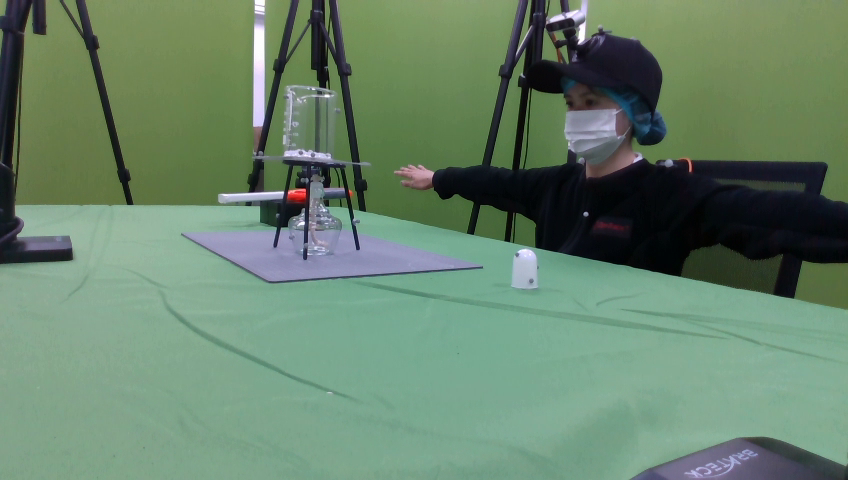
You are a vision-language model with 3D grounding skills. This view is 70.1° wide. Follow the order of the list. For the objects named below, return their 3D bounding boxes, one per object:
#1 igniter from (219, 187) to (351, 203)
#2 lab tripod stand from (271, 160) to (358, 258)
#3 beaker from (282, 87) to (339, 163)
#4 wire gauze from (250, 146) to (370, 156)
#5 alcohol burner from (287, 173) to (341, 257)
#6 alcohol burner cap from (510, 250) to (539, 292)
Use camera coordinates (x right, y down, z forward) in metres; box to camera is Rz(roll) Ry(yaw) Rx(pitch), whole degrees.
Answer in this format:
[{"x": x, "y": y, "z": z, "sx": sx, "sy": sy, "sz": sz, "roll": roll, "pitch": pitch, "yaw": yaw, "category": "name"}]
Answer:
[{"x": -0.280, "y": -0.092, "z": 1.254, "sx": 0.278, "sy": 0.025, "sz": 0.057, "roll": -6, "pitch": 10, "yaw": -34, "category": "igniter"}, {"x": -0.159, "y": -0.048, "z": 0.876, "sx": 0.148, "sy": 0.131, "sz": 0.148, "roll": 3, "pitch": 5, "yaw": 0, "category": "lab tripod stand"}, {"x": -0.164, "y": -0.160, "z": 0.856, "sx": 0.074, "sy": 0.100, "sz": 0.083, "roll": 1, "pitch": 6, "yaw": -37, "category": "beaker"}, {"x": -0.162, "y": -0.128, "z": 0.868, "sx": 0.124, "sy": 0.011, "sz": 0.122, "roll": 2, "pitch": 7, "yaw": 32, "category": "wire gauze"}, {"x": -0.158, "y": -0.037, "z": 0.868, "sx": 0.078, "sy": 0.119, "sz": 0.078, "roll": 1, "pitch": 6, "yaw": 0, "category": "alcohol burner"}, {"x": 0.118, "y": 0.036, "z": 0.704, "sx": 0.034, "sy": 0.048, "sz": 0.034, "roll": 0, "pitch": 6, "yaw": 0, "category": "alcohol burner cap"}]
